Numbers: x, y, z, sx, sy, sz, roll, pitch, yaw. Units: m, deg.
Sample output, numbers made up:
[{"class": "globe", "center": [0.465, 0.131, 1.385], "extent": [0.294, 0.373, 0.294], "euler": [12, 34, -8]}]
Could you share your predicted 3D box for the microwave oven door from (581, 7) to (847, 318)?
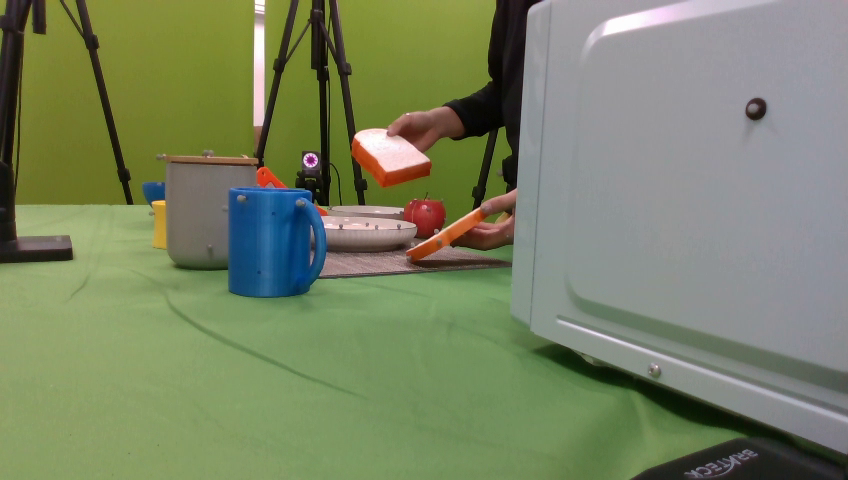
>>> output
[{"class": "microwave oven door", "center": [0.295, -0.067, 0.569], "extent": [0.358, 0.243, 0.039], "euler": [-3, 8, -31]}]

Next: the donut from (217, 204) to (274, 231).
[{"class": "donut", "center": [-0.318, -0.038, 1.080], "extent": [0.099, 0.048, 0.099], "euler": [3, 7, 0]}]

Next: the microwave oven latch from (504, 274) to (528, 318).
[{"class": "microwave oven latch", "center": [0.100, 0.041, 0.471], "extent": [0.079, 0.029, 0.030], "euler": [-1, 8, -28]}]

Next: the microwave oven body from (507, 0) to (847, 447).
[{"class": "microwave oven body", "center": [0.331, -0.042, 0.425], "extent": [0.444, 0.260, 0.324], "euler": [-2, 8, -31]}]

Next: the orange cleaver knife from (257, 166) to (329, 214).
[{"class": "orange cleaver knife", "center": [-0.295, -0.086, 1.333], "extent": [0.012, 0.077, 0.212], "euler": [2, -24, 46]}]

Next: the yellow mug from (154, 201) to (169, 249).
[{"class": "yellow mug", "center": [-0.337, -0.023, 0.899], "extent": [0.130, 0.064, 0.100], "euler": [8, 10, 34]}]

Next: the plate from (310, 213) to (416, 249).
[{"class": "plate", "center": [-0.117, -0.014, 0.967], "extent": [0.208, 0.039, 0.207], "euler": [2, 7, 0]}]

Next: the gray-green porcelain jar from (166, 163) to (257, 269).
[{"class": "gray-green porcelain jar", "center": [-0.263, -0.032, 0.754], "extent": [0.106, 0.126, 0.106], "euler": [2, 7, 0]}]

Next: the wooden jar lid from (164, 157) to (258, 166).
[{"class": "wooden jar lid", "center": [-0.261, -0.093, 0.746], "extent": [0.108, 0.020, 0.108], "euler": [0, 9, 0]}]

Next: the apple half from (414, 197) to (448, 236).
[{"class": "apple half", "center": [0.020, -0.044, 1.121], "extent": [0.082, 0.081, 0.032], "euler": [-5, 6, -39]}]

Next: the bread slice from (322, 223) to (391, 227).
[{"class": "bread slice", "center": [-0.116, -0.014, 0.974], "extent": [0.135, 0.018, 0.106], "euler": [-5, 11, -42]}]

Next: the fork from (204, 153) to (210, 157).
[{"class": "fork", "center": [-0.480, -0.134, 1.411], "extent": [0.028, 0.018, 0.207], "euler": [1, -35, 0]}]

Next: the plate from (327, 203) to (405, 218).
[{"class": "plate", "center": [-0.102, -0.053, 1.299], "extent": [0.209, 0.038, 0.209], "euler": [2, 8, 0]}]

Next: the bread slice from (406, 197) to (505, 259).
[{"class": "bread slice", "center": [0.037, -0.015, 0.818], "extent": [0.132, 0.019, 0.104], "euler": [-30, -1, -25]}]

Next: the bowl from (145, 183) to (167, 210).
[{"class": "bowl", "center": [-0.459, -0.069, 1.175], "extent": [0.151, 0.077, 0.151], "euler": [3, 7, 0]}]

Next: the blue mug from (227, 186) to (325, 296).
[{"class": "blue mug", "center": [-0.147, 0.000, 0.618], "extent": [0.116, 0.106, 0.083], "euler": [7, 9, 32]}]

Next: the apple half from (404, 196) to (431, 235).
[{"class": "apple half", "center": [-0.006, -0.048, 1.150], "extent": [0.081, 0.074, 0.053], "euler": [-7, 7, -40]}]

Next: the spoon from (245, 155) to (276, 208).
[{"class": "spoon", "center": [-0.421, -0.150, 1.540], "extent": [0.042, 0.021, 0.193], "euler": [-5, 55, -37]}]
